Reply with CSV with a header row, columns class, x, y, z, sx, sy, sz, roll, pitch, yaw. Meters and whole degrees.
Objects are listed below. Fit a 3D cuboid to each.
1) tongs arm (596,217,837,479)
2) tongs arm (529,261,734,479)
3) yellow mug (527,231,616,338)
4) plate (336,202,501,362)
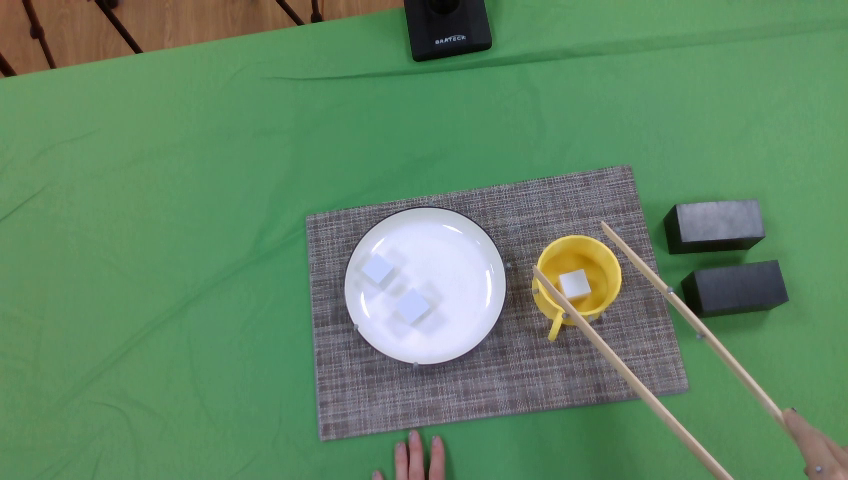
class,x,y,z,sx,sy,sz,roll,pitch,yaw
tongs arm,0.262,0.113,0.573,0.051,0.027,0.380,-32,50,-2
tongs arm,0.217,0.142,0.572,0.028,0.028,0.383,-33,50,-8
yellow mug,0.173,0.060,0.742,0.099,0.064,0.130,22,76,11
plate,-0.006,0.054,0.775,0.207,0.039,0.206,-1,72,4
